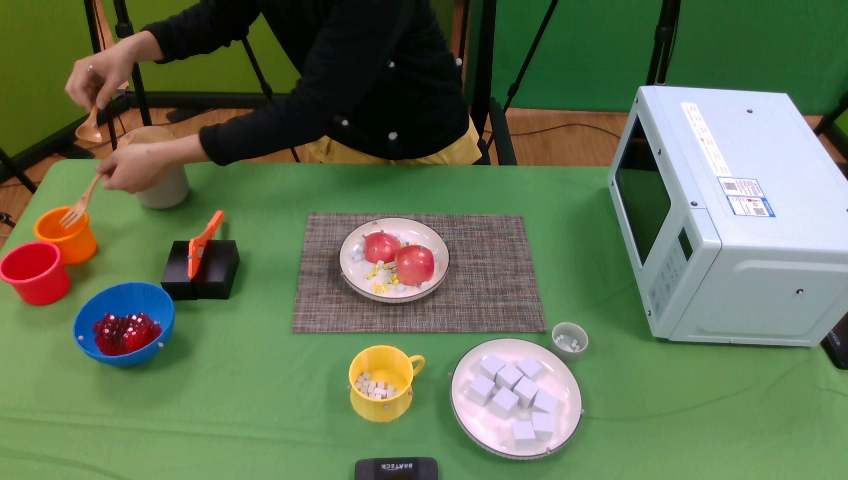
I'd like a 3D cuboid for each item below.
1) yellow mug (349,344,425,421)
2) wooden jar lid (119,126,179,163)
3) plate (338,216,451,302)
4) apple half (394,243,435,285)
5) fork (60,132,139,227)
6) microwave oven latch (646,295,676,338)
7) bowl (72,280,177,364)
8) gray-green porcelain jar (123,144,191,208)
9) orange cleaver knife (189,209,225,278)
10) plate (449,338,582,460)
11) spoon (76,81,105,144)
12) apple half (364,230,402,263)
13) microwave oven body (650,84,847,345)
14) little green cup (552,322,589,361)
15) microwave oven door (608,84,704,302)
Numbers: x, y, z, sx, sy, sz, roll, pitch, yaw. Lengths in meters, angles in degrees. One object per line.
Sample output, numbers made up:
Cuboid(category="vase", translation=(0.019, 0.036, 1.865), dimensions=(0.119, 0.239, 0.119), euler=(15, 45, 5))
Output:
Cuboid(category="yellow mug", translation=(-0.054, 0.217, 0.954), dimensions=(0.131, 0.064, 0.099), euler=(-24, 53, -25))
Cuboid(category="wooden jar lid", translation=(-0.527, -0.181, 1.167), dimensions=(0.108, 0.021, 0.107), euler=(3, 47, -4))
Cuboid(category="plate", translation=(-0.054, 0.038, 1.138), dimensions=(0.209, 0.038, 0.208), euler=(2, 46, -2))
Cuboid(category="apple half", translation=(-0.017, 0.036, 1.121), dimensions=(0.075, 0.053, 0.080), euler=(1, 46, -6))
Cuboid(category="fork", translation=(-0.573, -0.109, 1.075), dimensions=(0.028, 0.019, 0.207), euler=(35, 89, 23))
Cuboid(category="microwave oven latch", translation=(0.412, 0.133, 1.061), dimensions=(0.030, 0.029, 0.078), euler=(3, 46, 0))
Cuboid(category="bowl", translation=(-0.472, 0.147, 0.982), dimensions=(0.151, 0.077, 0.150), euler=(2, 46, -2))
Cuboid(category="gray-green porcelain jar", translation=(-0.531, -0.137, 1.214), dimensions=(0.106, 0.127, 0.105), euler=(2, 46, -2))
Cuboid(category="orange cleaver knife", translation=(-0.400, 0.002, 1.122), dimensions=(0.012, 0.077, 0.210), euler=(4, 23, -4))
Cuboid(category="plate", translation=(0.141, 0.251, 0.955), dimensions=(0.208, 0.039, 0.206), euler=(2, 46, -2))
Cuboid(category="spoon", translation=(-0.574, -0.226, 1.059), dimensions=(0.042, 0.022, 0.192), euler=(9, 44, -28))
Cuboid(category="apple half", translation=(-0.079, 0.005, 1.159), dimensions=(0.081, 0.033, 0.081), euler=(3, 49, -3))
Cuboid(category="microwave oven body", translation=(0.569, -0.054, 1.116), dimensions=(0.326, 0.261, 0.439), euler=(2, 46, -1))
Cuboid(category="little green cup", translation=(0.247, 0.175, 1.033), dimensions=(0.061, 0.039, 0.061), euler=(1, 45, 0))
Cuboid(category="microwave oven door", translation=(0.424, -0.096, 1.137), dimensions=(0.039, 0.245, 0.353), euler=(3, 46, -1))
